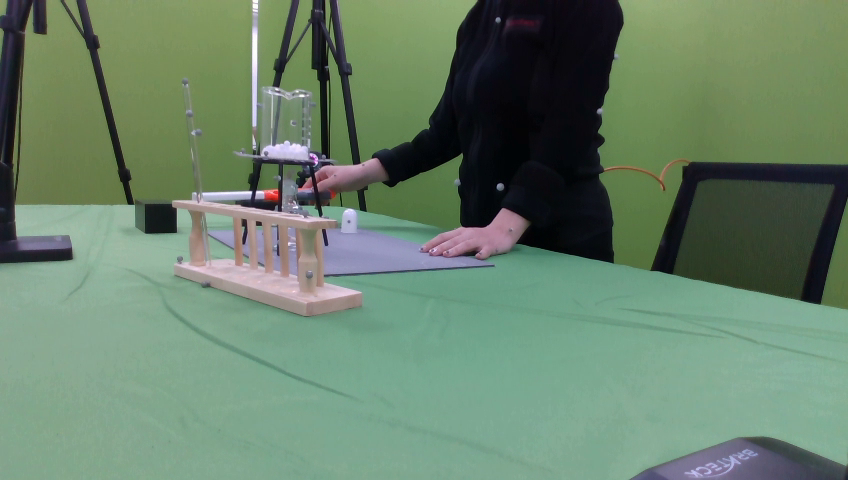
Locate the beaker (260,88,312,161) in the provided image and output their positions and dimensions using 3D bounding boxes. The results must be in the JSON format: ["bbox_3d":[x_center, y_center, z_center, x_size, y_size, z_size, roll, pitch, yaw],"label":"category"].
[{"bbox_3d":[-0.200,-0.166,0.876,0.074,0.100,0.083,1,7,-18],"label":"beaker"}]

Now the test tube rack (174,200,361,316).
[{"bbox_3d":[-0.169,0.009,0.622,0.241,0.085,0.067,9,9,41],"label":"test tube rack"}]

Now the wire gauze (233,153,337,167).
[{"bbox_3d":[-0.205,-0.119,0.887,0.122,0.011,0.124,2,4,-32],"label":"wire gauze"}]

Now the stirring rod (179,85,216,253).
[{"bbox_3d":[-0.236,-0.073,0.634,0.006,0.176,0.014,0,10,42],"label":"stirring rod"}]

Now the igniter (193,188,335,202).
[{"bbox_3d":[-0.312,-0.089,1.209,0.278,0.025,0.057,-5,12,-31],"label":"igniter"}]

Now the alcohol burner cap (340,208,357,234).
[{"bbox_3d":[-0.142,-0.035,1.136,0.034,0.048,0.034,2,7,0],"label":"alcohol burner cap"}]

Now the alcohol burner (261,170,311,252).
[{"bbox_3d":[-0.201,-0.043,0.891,0.078,0.119,0.078,1,6,0],"label":"alcohol burner"}]

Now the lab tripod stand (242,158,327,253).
[{"bbox_3d":[-0.207,-0.054,0.895,0.148,0.131,0.148,3,5,0],"label":"lab tripod stand"}]
